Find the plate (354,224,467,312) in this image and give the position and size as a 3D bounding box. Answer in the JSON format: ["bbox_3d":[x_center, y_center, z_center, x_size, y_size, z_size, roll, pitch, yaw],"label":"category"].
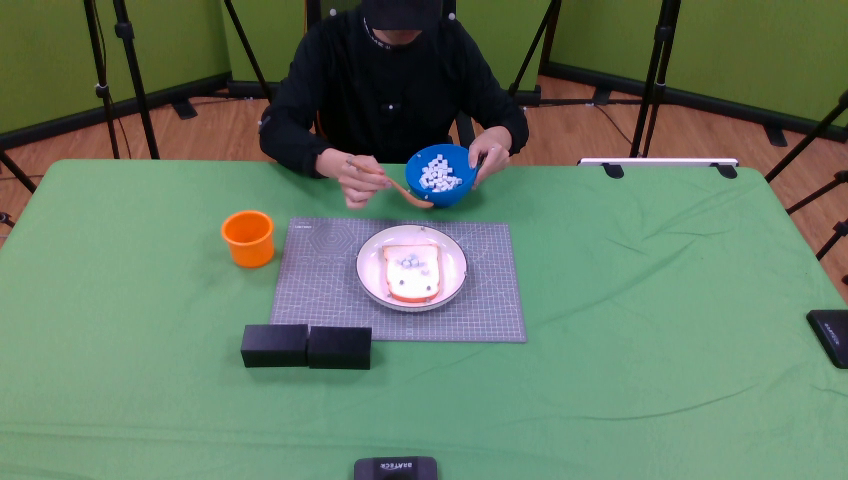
[{"bbox_3d":[-0.025,0.055,1.128,0.209,0.038,0.208,3,46,-2],"label":"plate"}]

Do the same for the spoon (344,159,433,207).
[{"bbox_3d":[-0.062,-0.104,1.108,0.195,0.021,0.041,30,1,-29],"label":"spoon"}]

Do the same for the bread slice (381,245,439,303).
[{"bbox_3d":[-0.022,0.061,1.126,0.107,0.018,0.133,-3,45,-8],"label":"bread slice"}]

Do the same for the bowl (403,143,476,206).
[{"bbox_3d":[0.037,-0.124,1.262,0.151,0.077,0.150,-6,48,7],"label":"bowl"}]
